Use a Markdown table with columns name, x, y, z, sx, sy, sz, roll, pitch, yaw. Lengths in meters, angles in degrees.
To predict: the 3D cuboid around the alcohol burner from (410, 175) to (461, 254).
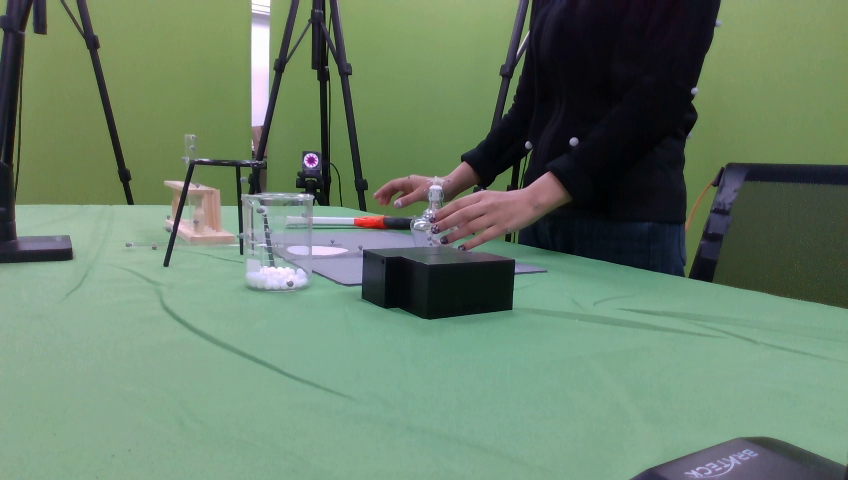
| name | x | y | z | sx | sy | sz | roll | pitch | yaw |
| --- | --- | --- | --- | --- | --- | --- | --- | --- | --- |
| alcohol burner | 0.018 | -0.040 | 0.931 | 0.078 | 0.119 | 0.078 | 0 | 7 | 0 |

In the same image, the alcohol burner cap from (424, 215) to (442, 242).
| name | x | y | z | sx | sy | sz | roll | pitch | yaw |
| --- | --- | --- | --- | --- | --- | --- | --- | --- | --- |
| alcohol burner cap | 0.017 | -0.022 | 1.098 | 0.034 | 0.048 | 0.034 | 2 | 8 | 0 |

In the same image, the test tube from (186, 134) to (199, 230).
| name | x | y | z | sx | sy | sz | roll | pitch | yaw |
| --- | --- | --- | --- | --- | --- | --- | --- | --- | --- |
| test tube | -0.360 | -0.089 | 0.946 | 0.017 | 0.150 | 0.017 | 0 | 10 | 0 |

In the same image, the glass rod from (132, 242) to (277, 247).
| name | x | y | z | sx | sy | sz | roll | pitch | yaw |
| --- | --- | --- | --- | --- | --- | --- | --- | --- | --- |
| glass rod | -0.316 | 0.007 | 0.885 | 0.201 | 0.008 | 0.008 | 0 | 7 | -27 |

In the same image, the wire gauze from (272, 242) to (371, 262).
| name | x | y | z | sx | sy | sz | roll | pitch | yaw |
| --- | --- | --- | --- | --- | --- | --- | --- | --- | --- |
| wire gauze | -0.155 | 0.013 | 0.877 | 0.122 | 0.011 | 0.124 | -3 | 10 | -29 |

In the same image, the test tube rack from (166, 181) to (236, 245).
| name | x | y | z | sx | sy | sz | roll | pitch | yaw |
| --- | --- | --- | --- | --- | --- | --- | --- | --- | --- |
| test tube rack | -0.383 | -0.051 | 1.024 | 0.067 | 0.085 | 0.241 | -2 | 9 | -31 |

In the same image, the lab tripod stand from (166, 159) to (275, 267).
| name | x | y | z | sx | sy | sz | roll | pitch | yaw |
| --- | --- | --- | --- | --- | --- | --- | --- | --- | --- |
| lab tripod stand | -0.249 | -0.036 | 0.764 | 0.148 | 0.131 | 0.148 | 2 | 9 | 0 |

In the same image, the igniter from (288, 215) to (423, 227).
| name | x | y | z | sx | sy | sz | roll | pitch | yaw |
| --- | --- | --- | --- | --- | --- | --- | --- | --- | --- |
| igniter | -0.136 | -0.040 | 1.240 | 0.278 | 0.025 | 0.057 | 0 | -2 | -22 |

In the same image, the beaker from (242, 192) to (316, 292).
| name | x | y | z | sx | sy | sz | roll | pitch | yaw |
| --- | --- | --- | --- | --- | --- | --- | --- | --- | --- |
| beaker | -0.157 | 0.000 | 0.642 | 0.084 | 0.100 | 0.074 | 4 | 7 | 19 |
